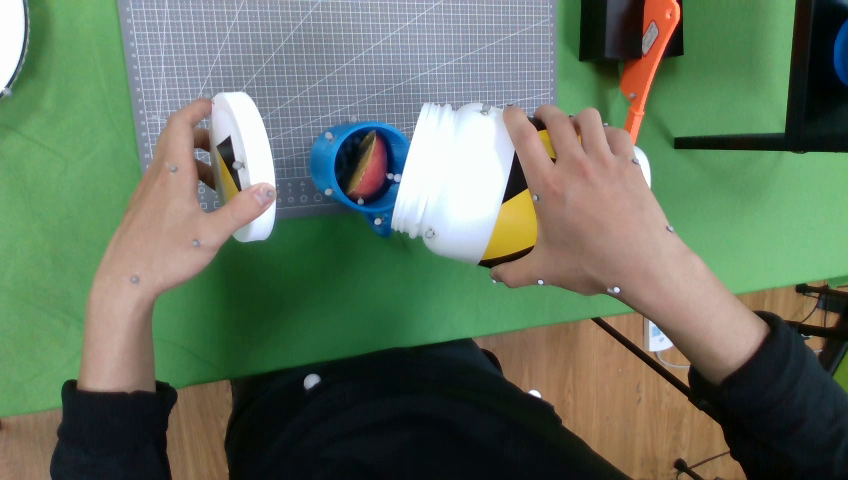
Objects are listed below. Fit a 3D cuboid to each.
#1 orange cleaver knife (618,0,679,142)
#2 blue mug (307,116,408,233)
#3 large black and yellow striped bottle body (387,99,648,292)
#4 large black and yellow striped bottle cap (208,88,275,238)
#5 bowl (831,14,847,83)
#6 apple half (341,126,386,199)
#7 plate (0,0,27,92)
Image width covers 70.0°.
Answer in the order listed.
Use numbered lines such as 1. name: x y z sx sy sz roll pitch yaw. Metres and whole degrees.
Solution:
1. orange cleaver knife: 0.247 -0.190 0.704 0.012 0.076 0.213 -4 128 -12
2. blue mug: -0.060 -0.062 0.593 0.082 0.105 0.117 -22 107 -16
3. large black and yellow striped bottle body: 0.072 -0.040 0.501 0.184 0.130 0.131 15 95 -2
4. large black and yellow striped bottle cap: -0.143 -0.058 0.469 0.019 0.114 0.115 -11 104 -31
5. bowl: 0.464 -0.196 0.597 0.152 0.076 0.152 -4 102 -20
6. apple half: -0.053 -0.070 0.589 0.033 0.081 0.081 26 90 -15
7. plate: -0.424 -0.186 0.465 0.210 0.038 0.209 -4 102 -20
